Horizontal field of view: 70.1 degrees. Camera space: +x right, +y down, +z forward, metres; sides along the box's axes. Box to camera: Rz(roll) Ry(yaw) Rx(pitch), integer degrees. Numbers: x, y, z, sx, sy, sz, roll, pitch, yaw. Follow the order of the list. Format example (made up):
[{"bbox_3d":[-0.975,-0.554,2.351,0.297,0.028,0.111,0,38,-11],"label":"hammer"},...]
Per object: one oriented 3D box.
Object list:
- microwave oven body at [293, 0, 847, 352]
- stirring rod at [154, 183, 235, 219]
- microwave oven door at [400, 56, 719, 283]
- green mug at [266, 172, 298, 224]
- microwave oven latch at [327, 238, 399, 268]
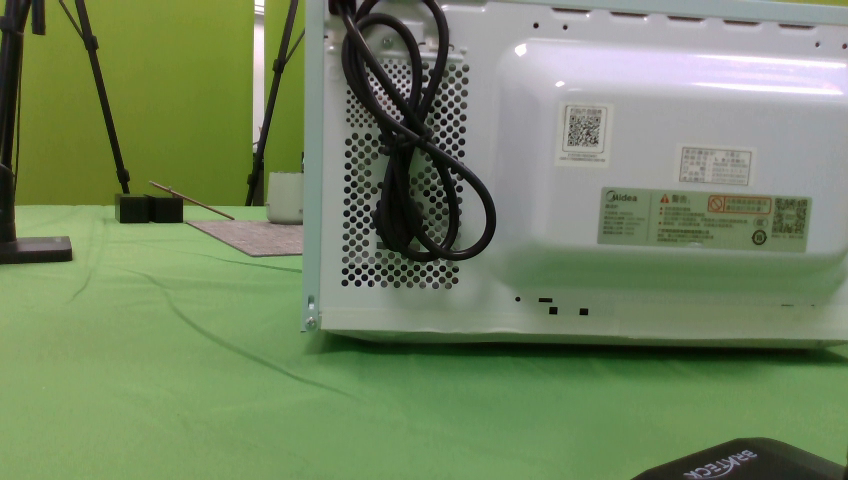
[{"bbox_3d":[0.122,-0.055,0.550,0.442,0.260,0.325,3,7,-5],"label":"microwave oven body"},{"bbox_3d":[-0.472,-0.079,1.252,0.177,0.006,0.014,27,4,-35],"label":"stirring rod"},{"bbox_3d":[0.155,-0.077,0.698,0.356,0.243,0.039,2,8,-5],"label":"microwave oven door"},{"bbox_3d":[-0.272,-0.089,1.271,0.092,0.105,0.126,7,8,33],"label":"green mug"},{"bbox_3d":[-0.069,0.015,0.694,0.079,0.029,0.030,3,7,-3],"label":"microwave oven latch"}]
